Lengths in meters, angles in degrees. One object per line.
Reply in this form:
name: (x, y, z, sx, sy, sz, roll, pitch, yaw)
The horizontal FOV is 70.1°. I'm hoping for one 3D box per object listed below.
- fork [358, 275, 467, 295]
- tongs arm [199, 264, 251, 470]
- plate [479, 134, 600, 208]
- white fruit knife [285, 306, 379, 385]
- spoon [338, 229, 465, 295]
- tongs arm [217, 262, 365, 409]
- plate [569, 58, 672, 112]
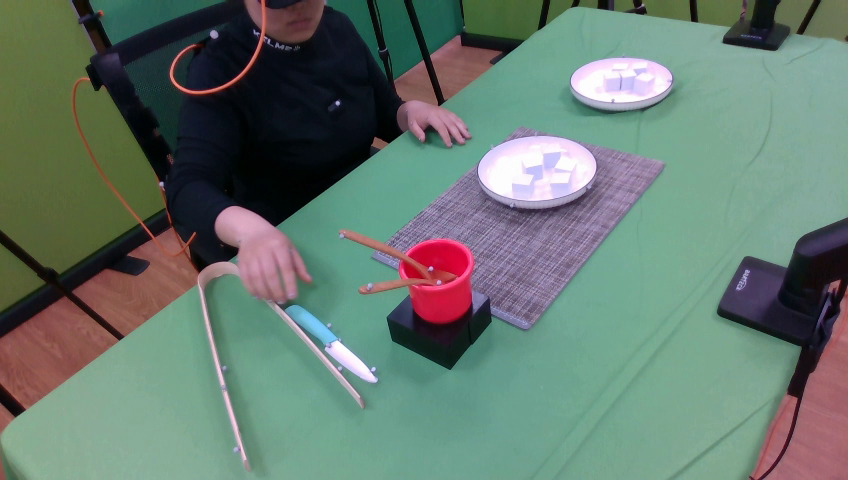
fork: (-0.009, 0.056, 0.739, 0.028, 0.018, 0.209, 48, 23, 26)
tongs arm: (-0.269, 0.154, 0.841, 0.051, 0.026, 0.381, -23, 40, -17)
plate: (0.202, -0.117, 1.065, 0.207, 0.039, 0.206, -5, 40, 5)
white fruit knife: (-0.131, 0.144, 0.844, 0.205, 0.016, 0.027, 30, 83, 36)
spoon: (-0.025, 0.026, 0.776, 0.021, 0.195, 0.041, -41, 34, 31)
tongs arm: (-0.201, 0.123, 0.871, 0.028, 0.028, 0.384, -35, 46, -24)
plate: (0.411, -0.323, 1.274, 0.209, 0.038, 0.208, -5, 41, 5)
